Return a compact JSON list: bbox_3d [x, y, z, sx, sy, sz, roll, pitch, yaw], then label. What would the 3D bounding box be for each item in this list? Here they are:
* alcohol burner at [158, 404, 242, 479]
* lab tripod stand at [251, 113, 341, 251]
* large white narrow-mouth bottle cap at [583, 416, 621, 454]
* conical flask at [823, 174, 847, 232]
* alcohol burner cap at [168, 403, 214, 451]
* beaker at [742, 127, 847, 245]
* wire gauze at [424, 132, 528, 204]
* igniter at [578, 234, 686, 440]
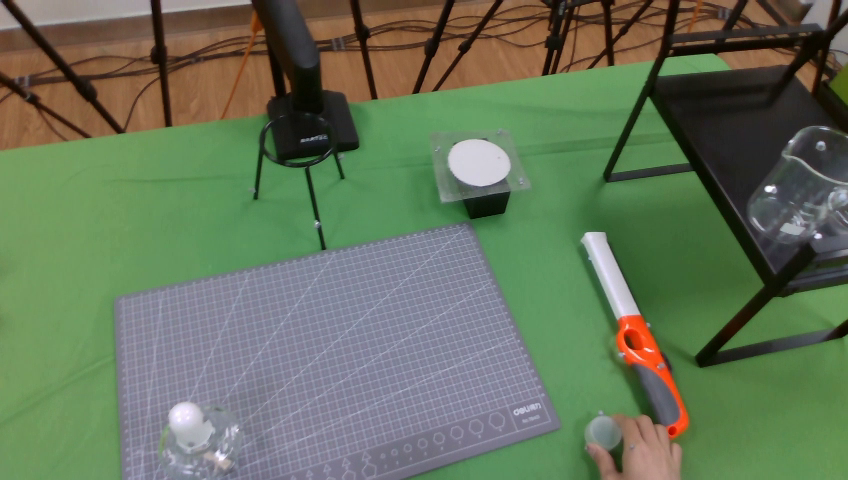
[{"bbox_3d":[-0.216,0.188,0.577,0.078,0.120,0.077,4,52,-4],"label":"alcohol burner"},{"bbox_3d":[-0.155,-0.078,0.767,0.148,0.132,0.147,4,54,-5],"label":"lab tripod stand"},{"bbox_3d":[0.193,0.211,0.658,0.038,0.024,0.037,3,54,-3],"label":"large white narrow-mouth bottle cap"},{"bbox_3d":[0.464,-0.064,0.600,0.075,0.123,0.074,2,54,-3],"label":"conical flask"},{"bbox_3d":[-0.213,0.167,0.548,0.034,0.048,0.033,1,50,0],"label":"alcohol burner cap"},{"bbox_3d":[0.366,-0.049,0.594,0.084,0.101,0.073,6,54,-1],"label":"beaker"},{"bbox_3d":[0.068,-0.103,0.822,0.122,0.011,0.124,-6,55,-9],"label":"wire gauze"},{"bbox_3d":[0.249,0.106,0.738,0.057,0.025,0.273,-1,54,-19],"label":"igniter"}]
